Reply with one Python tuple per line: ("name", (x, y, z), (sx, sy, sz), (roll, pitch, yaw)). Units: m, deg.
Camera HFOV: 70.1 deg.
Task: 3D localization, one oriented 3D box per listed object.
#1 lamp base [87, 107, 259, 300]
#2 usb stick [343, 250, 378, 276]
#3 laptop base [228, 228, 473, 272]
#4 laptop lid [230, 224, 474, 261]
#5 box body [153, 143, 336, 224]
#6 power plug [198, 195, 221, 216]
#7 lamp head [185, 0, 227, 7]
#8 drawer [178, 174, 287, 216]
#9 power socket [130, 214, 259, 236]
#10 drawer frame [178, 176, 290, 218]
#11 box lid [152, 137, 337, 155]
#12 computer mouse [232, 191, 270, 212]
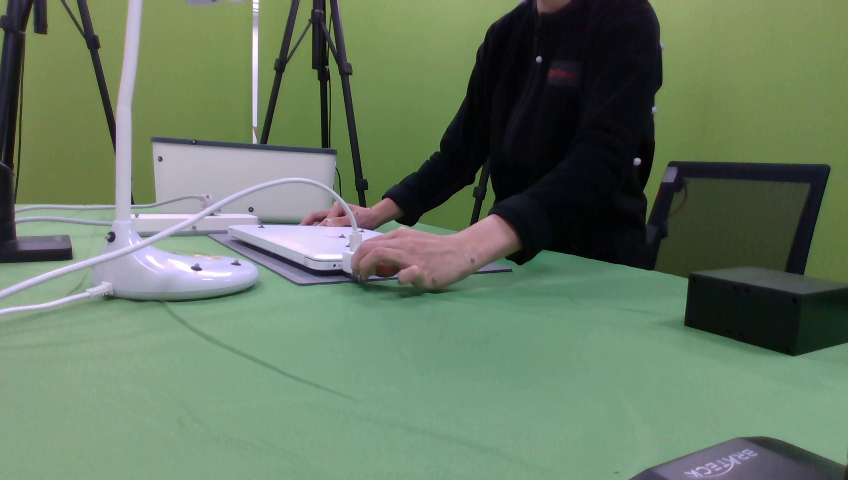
("lamp base", (-0.254, -0.039, 0.603), (0.160, 0.180, 0.179), (5, 10, 18))
("usb stick", (-0.076, 0.025, 0.686), (0.021, 0.027, 0.059), (-8, 6, -33))
("laptop base", (-0.123, 0.012, 0.889), (0.237, 0.023, 0.352), (1, 6, -35))
("laptop lid", (-0.121, 0.000, 0.888), (0.243, 0.013, 0.355), (1, 7, -33))
("box body", (-0.380, -0.130, 1.344), (0.365, 0.160, 0.253), (1, 7, -9))
("power plug", (-0.386, -0.055, 1.088), (0.035, 0.052, 0.072), (-2, 6, -24))
("lamp head", (-0.229, -0.320, 0.627), (0.112, 0.112, 0.123), (6, -36, 26))
("drawer", (-0.414, -0.104, 1.342), (0.212, 0.073, 0.194), (5, 6, -11))
("power socket", (-0.397, -0.028, 1.048), (0.228, 0.032, 0.072), (-3, 7, -35))
("drawer frame", (-0.409, -0.100, 1.340), (0.214, 0.082, 0.201), (-4, 7, -10))
("box lid", (-0.379, -0.203, 1.334), (0.372, 0.015, 0.262), (2, 7, -9))
("computer mouse", (-0.382, -0.086, 1.343), (0.063, 0.041, 0.117), (10, 10, -4))
